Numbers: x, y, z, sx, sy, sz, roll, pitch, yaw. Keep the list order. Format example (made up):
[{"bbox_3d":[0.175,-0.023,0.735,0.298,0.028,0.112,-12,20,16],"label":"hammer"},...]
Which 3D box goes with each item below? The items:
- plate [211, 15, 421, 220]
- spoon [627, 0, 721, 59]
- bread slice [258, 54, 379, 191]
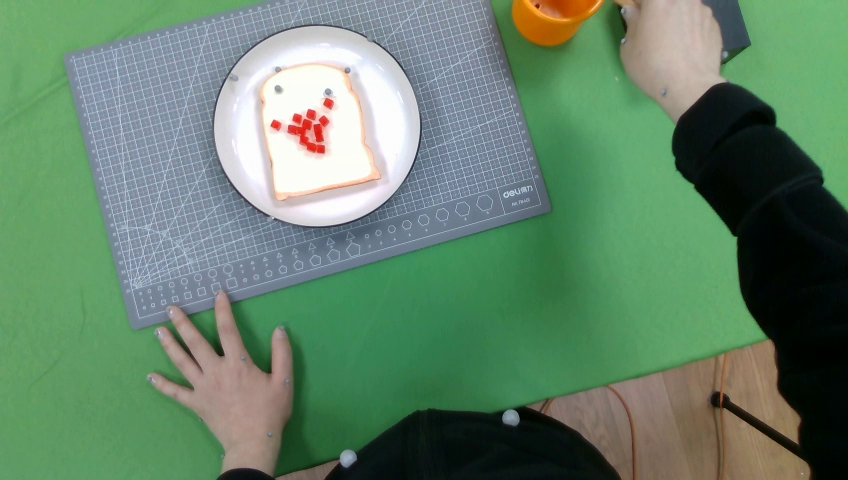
[{"bbox_3d":[-0.107,-0.122,0.620,0.209,0.038,0.208,0,86,-2],"label":"plate"},{"bbox_3d":[0.182,-0.215,0.538,0.041,0.022,0.192,-48,63,12],"label":"spoon"},{"bbox_3d":[-0.115,-0.122,0.620,0.107,0.018,0.134,-16,87,-4],"label":"bread slice"}]
